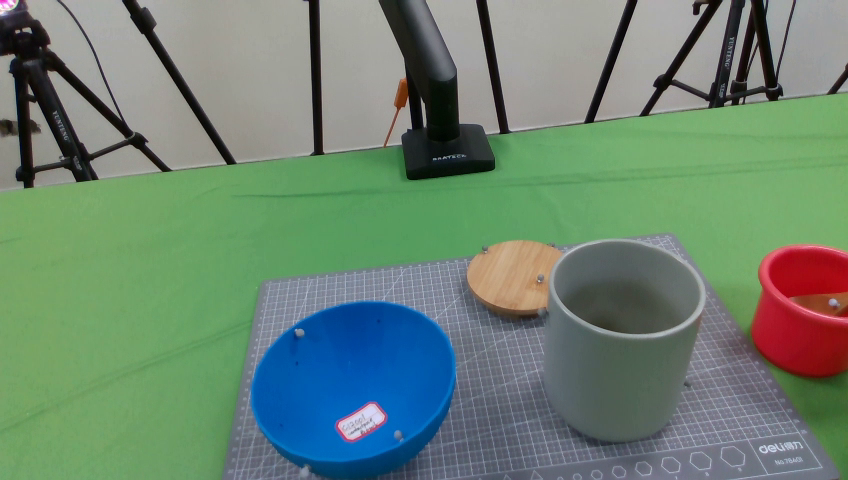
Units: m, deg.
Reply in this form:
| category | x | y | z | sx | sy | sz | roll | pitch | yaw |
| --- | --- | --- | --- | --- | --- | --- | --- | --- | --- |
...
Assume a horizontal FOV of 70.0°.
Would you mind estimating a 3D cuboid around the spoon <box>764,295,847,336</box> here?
| category | x | y | z | sx | sy | sz | roll | pitch | yaw |
| --- | --- | --- | --- | --- | --- | --- | --- | --- | --- |
| spoon | 0.361 | 0.040 | 0.468 | 0.022 | 0.194 | 0.041 | 42 | 52 | -10 |

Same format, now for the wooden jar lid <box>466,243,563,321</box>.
| category | x | y | z | sx | sy | sz | roll | pitch | yaw |
| --- | --- | --- | --- | --- | --- | --- | --- | --- | --- |
| wooden jar lid | 0.097 | 0.043 | 0.607 | 0.108 | 0.021 | 0.107 | -4 | 36 | 3 |

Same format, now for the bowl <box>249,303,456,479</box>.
| category | x | y | z | sx | sy | sz | roll | pitch | yaw |
| --- | --- | --- | --- | --- | --- | --- | --- | --- | --- |
| bowl | -0.049 | 0.127 | 0.464 | 0.151 | 0.077 | 0.150 | -3 | 37 | 3 |

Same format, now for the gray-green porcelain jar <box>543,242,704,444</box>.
| category | x | y | z | sx | sy | sz | roll | pitch | yaw |
| --- | --- | --- | --- | --- | --- | --- | --- | --- | --- |
| gray-green porcelain jar | 0.144 | 0.082 | 0.459 | 0.106 | 0.127 | 0.105 | -4 | 37 | 3 |
